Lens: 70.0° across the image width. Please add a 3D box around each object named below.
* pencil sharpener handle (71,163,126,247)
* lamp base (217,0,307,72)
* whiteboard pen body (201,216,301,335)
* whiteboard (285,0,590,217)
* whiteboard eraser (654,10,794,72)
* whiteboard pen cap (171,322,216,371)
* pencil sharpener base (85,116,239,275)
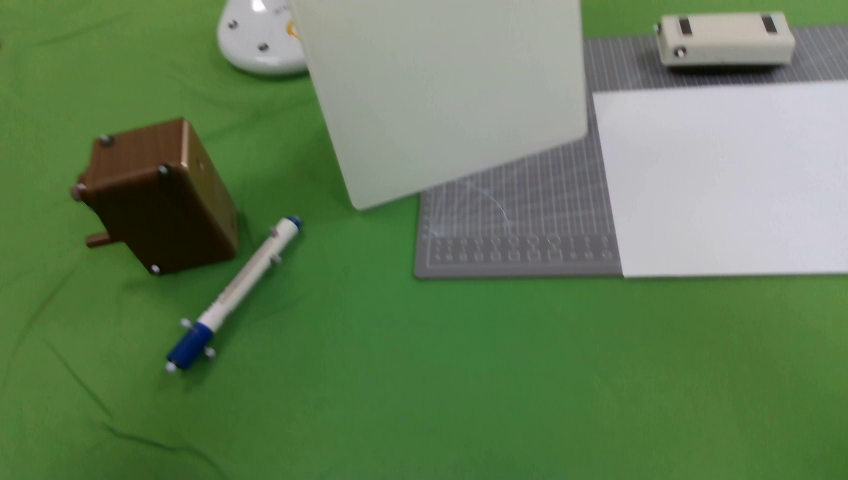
[{"bbox_3d":[-0.248,-0.023,0.451,0.030,0.068,0.035,-14,40,-3],"label":"pencil sharpener handle"},{"bbox_3d":[-0.166,-0.292,0.618,0.177,0.182,0.160,35,63,31],"label":"lamp base"},{"bbox_3d":[-0.138,0.034,0.466,0.017,0.017,0.140,18,55,20],"label":"whiteboard pen body"},{"bbox_3d":[-0.005,-0.212,0.493,0.217,0.308,0.142,-18,33,-6],"label":"whiteboard"},{"bbox_3d":[0.276,-0.185,0.564,0.112,0.042,0.055,1,54,8],"label":"whiteboard eraser"},{"bbox_3d":[-0.164,0.075,0.433,0.018,0.018,0.033,18,54,20],"label":"whiteboard pen cap"},{"bbox_3d":[-0.198,-0.030,0.466,0.077,0.108,0.060,-14,52,-3],"label":"pencil sharpener base"}]
